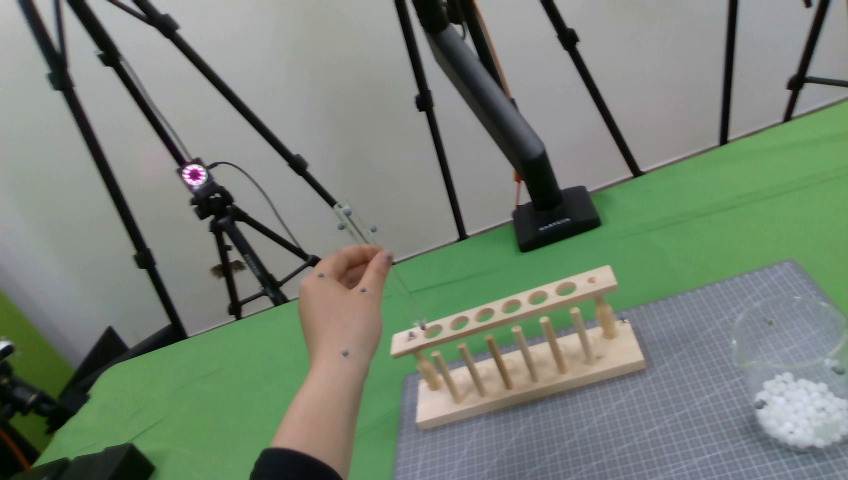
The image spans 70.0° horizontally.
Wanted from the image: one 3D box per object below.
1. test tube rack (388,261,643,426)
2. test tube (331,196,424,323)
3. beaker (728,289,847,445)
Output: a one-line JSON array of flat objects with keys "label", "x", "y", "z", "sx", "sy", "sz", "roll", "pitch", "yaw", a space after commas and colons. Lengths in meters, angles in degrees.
[{"label": "test tube rack", "x": 0.089, "y": 0.110, "z": 0.629, "sx": 0.242, "sy": 0.086, "sz": 0.066, "roll": -20, "pitch": 28, "yaw": 14}, {"label": "test tube", "x": -0.038, "y": 0.022, "z": 0.544, "sx": 0.017, "sy": 0.152, "sz": 0.017, "roll": -22, "pitch": 32, "yaw": 15}, {"label": "beaker", "x": 0.278, "y": 0.100, "z": 0.460, "sx": 0.084, "sy": 0.101, "sz": 0.073, "roll": -29, "pitch": 26, "yaw": -2}]
